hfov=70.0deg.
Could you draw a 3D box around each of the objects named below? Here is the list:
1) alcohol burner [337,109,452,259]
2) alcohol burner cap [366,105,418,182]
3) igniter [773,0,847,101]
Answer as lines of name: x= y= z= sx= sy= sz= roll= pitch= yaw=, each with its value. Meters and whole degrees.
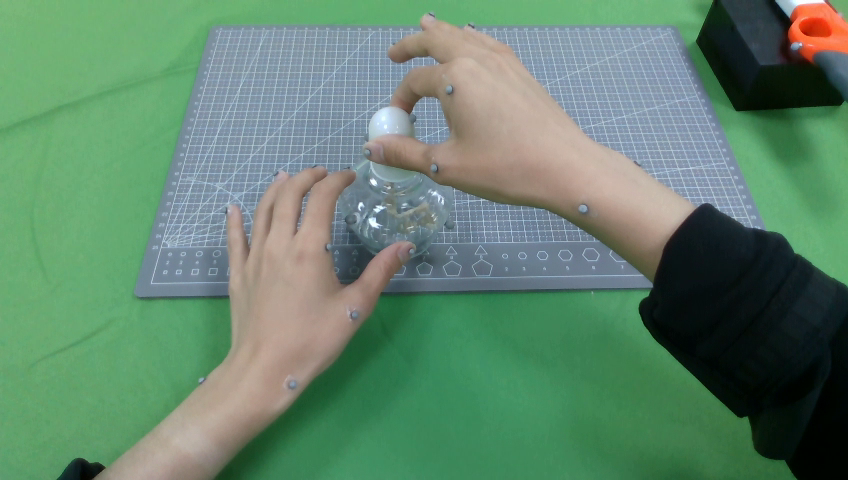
alcohol burner: x=-0.020 y=-0.040 z=0.397 sx=0.078 sy=0.120 sz=0.077 roll=0 pitch=56 yaw=0
alcohol burner cap: x=-0.020 y=-0.061 z=0.368 sx=0.034 sy=0.048 sz=0.033 roll=0 pitch=59 yaw=0
igniter: x=0.325 y=-0.187 z=0.509 sx=0.057 sy=0.025 sz=0.273 roll=-5 pitch=53 yaw=-2
